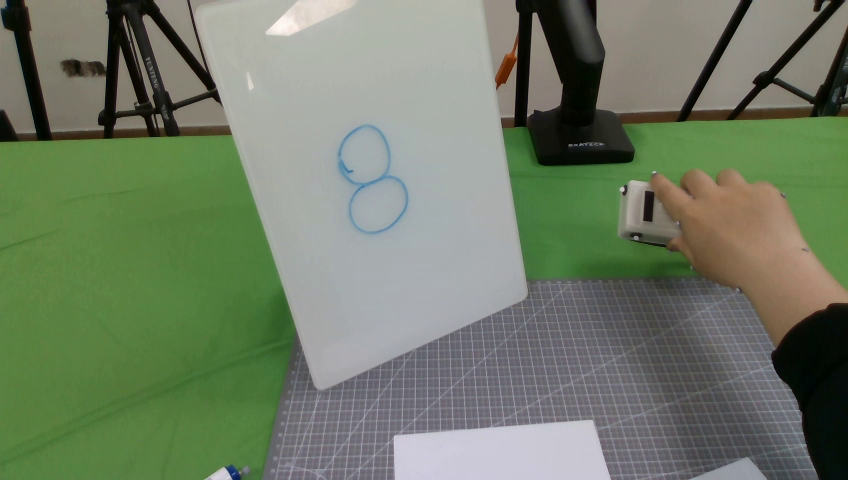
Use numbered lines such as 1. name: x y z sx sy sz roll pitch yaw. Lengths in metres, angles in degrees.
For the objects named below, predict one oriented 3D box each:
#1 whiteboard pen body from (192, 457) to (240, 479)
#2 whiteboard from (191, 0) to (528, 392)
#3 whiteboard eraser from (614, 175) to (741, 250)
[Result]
1. whiteboard pen body: -0.190 0.192 0.407 0.141 0.017 0.017 -29 47 -30
2. whiteboard: -0.055 -0.066 0.540 0.217 0.307 0.142 -21 23 -20
3. whiteboard eraser: 0.241 -0.025 0.579 0.113 0.042 0.055 9 78 0
